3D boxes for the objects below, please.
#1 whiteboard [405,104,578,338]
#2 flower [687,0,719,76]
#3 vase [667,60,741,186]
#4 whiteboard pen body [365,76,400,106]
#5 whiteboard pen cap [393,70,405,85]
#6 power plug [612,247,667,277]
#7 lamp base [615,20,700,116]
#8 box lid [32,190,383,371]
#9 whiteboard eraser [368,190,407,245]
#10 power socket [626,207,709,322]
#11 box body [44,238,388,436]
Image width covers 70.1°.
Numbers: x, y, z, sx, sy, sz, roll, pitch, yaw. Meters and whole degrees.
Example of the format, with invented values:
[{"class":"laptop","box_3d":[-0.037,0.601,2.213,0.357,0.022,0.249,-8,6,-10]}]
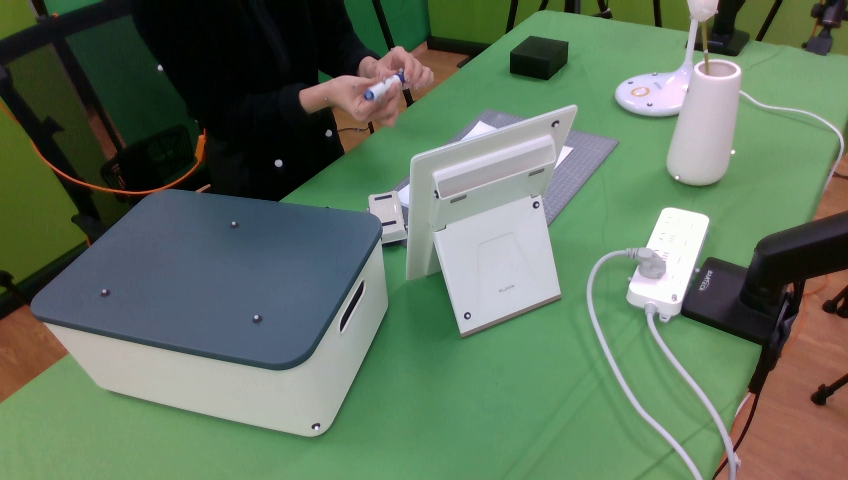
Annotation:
[{"class":"whiteboard","box_3d":[0.102,0.003,0.787,0.218,0.306,0.143,-19,62,-14]},{"class":"flower","box_3d":[0.436,-0.242,0.934,0.038,0.364,0.043,-24,49,9]},{"class":"vase","box_3d":[0.463,-0.189,0.994,0.098,0.201,0.097,-4,40,4]},{"class":"whiteboard pen body","box_3d":[-0.057,-0.227,0.906,0.017,0.017,0.141,6,30,15]},{"class":"whiteboard pen cap","box_3d":[-0.041,-0.255,0.956,0.018,0.018,0.033,2,34,10]},{"class":"power plug","box_3d":[0.306,0.031,0.852,0.072,0.053,0.035,21,48,38]},{"class":"lamp base","box_3d":[0.484,-0.364,1.211,0.180,0.181,0.159,-15,41,-14]},{"class":"box lid","box_3d":[-0.257,0.032,0.750,0.370,0.015,0.263,7,41,16]},{"class":"whiteboard eraser","box_3d":[-0.061,-0.035,1.006,0.056,0.042,0.112,-9,40,-4]},{"class":"power socket","box_3d":[0.360,0.026,0.886,0.072,0.033,0.227,17,46,27]},{"class":"box body","box_3d":[-0.251,0.088,0.799,0.362,0.161,0.254,7,42,16]}]
